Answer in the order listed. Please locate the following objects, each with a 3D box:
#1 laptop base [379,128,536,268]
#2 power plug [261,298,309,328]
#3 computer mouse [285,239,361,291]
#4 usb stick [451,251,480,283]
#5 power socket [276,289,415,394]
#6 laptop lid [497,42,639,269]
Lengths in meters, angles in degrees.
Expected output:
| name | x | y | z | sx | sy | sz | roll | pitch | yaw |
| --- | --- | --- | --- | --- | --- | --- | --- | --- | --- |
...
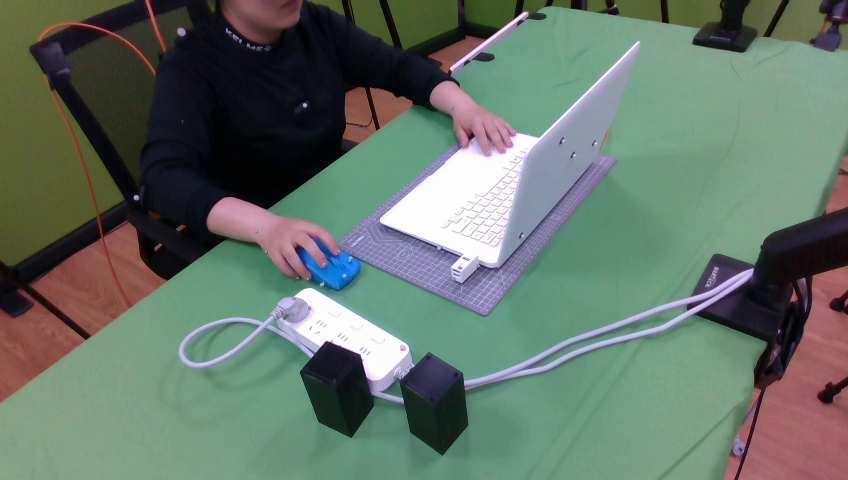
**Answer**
| name | x | y | z | sx | sy | sz | roll | pitch | yaw |
| --- | --- | --- | --- | --- | --- | --- | --- | --- | --- |
| laptop base | 0.118 | -0.088 | 1.058 | 0.233 | 0.023 | 0.355 | 19 | 47 | 32 |
| power plug | -0.192 | 0.107 | 0.831 | 0.073 | 0.053 | 0.035 | -32 | 43 | -25 |
| computer mouse | -0.158 | 0.035 | 0.940 | 0.116 | 0.041 | 0.063 | 23 | 46 | 25 |
| usb stick | 0.066 | 0.036 | 0.899 | 0.021 | 0.027 | 0.059 | 23 | 45 | 32 |
| power socket | -0.114 | 0.133 | 0.821 | 0.225 | 0.033 | 0.072 | 25 | 49 | 33 |
| laptop lid | 0.221 | -0.130 | 0.913 | 0.013 | 0.242 | 0.357 | 31 | 51 | 21 |
